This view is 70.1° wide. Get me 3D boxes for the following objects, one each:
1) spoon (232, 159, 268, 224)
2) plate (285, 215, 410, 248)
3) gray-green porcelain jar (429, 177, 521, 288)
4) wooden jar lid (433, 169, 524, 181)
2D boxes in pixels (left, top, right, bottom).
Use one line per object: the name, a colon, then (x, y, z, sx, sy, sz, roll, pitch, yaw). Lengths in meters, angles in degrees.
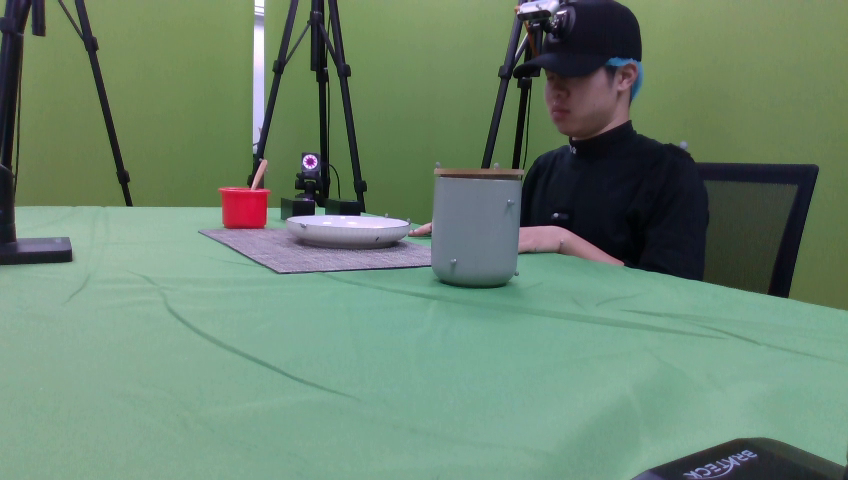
spoon: (-0.343, -0.101, 1.218, 0.041, 0.021, 0.193, 4, 51, 4)
plate: (-0.127, -0.015, 1.012, 0.208, 0.039, 0.207, 3, 7, 0)
gray-green porcelain jar: (0.060, -0.011, 0.725, 0.106, 0.126, 0.106, 2, 7, 0)
wooden jar lid: (0.064, -0.074, 0.717, 0.108, 0.020, 0.108, 0, 5, 0)
